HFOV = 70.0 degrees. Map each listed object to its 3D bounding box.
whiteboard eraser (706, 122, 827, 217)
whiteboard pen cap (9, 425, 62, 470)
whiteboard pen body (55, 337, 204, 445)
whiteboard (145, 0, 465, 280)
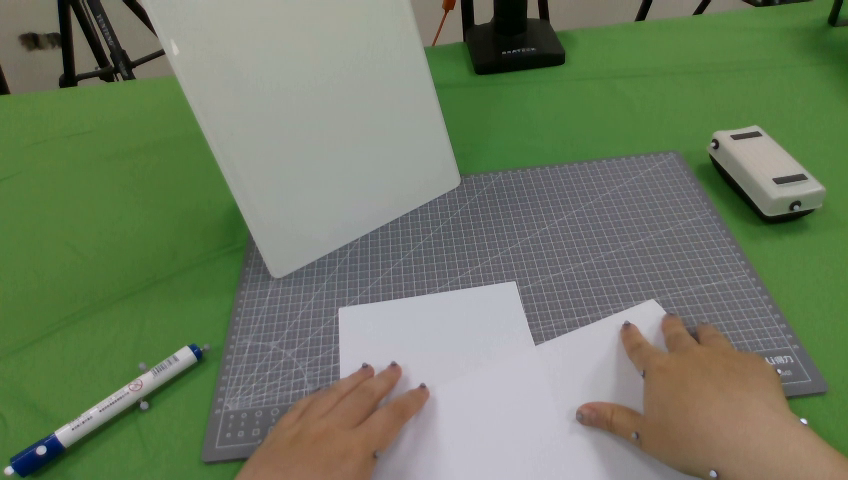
[{"bbox_3d":[0.322,-0.067,0.578,0.055,0.042,0.111,-12,44,-3],"label":"whiteboard eraser"},{"bbox_3d":[-0.276,0.147,0.434,0.033,0.018,0.018,-35,51,-29],"label":"whiteboard pen cap"},{"bbox_3d":[-0.233,0.119,0.462,0.141,0.017,0.017,-36,51,-28],"label":"whiteboard pen body"},{"bbox_3d":[-0.121,-0.159,0.577,0.217,0.308,0.142,-28,27,-20],"label":"whiteboard"}]
